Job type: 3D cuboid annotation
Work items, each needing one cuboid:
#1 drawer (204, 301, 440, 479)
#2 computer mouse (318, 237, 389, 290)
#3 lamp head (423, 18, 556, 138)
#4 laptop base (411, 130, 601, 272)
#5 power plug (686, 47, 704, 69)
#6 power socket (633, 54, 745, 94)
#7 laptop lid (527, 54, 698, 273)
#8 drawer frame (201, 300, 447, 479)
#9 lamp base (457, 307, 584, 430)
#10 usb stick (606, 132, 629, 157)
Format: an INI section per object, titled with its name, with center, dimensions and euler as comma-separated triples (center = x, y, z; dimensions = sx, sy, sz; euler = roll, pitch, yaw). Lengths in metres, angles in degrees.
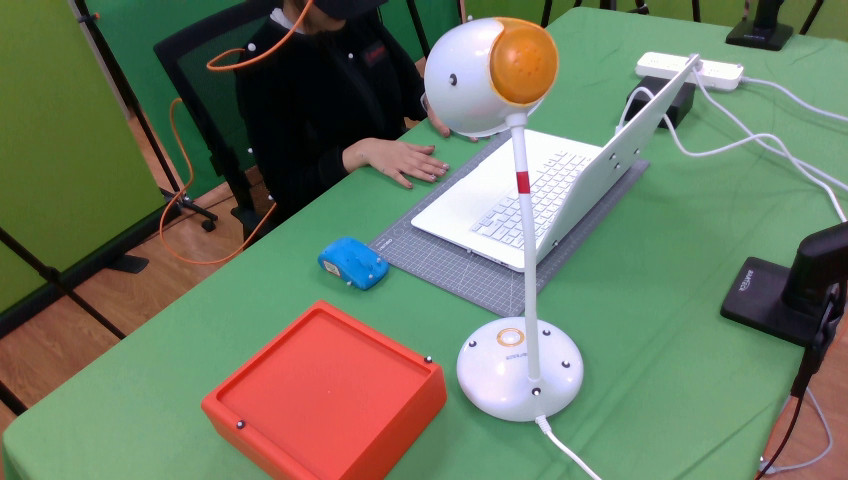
[drawer]
center = -0.119, 0.193, 0.735
dimensions = 0.210, 0.073, 0.195
euler = 23, 49, 32
[computer mouse]
center = -0.113, 0.033, 0.959
dimensions = 0.116, 0.041, 0.063
euler = 27, 50, 31
[lamp head]
center = 0.069, -0.151, 0.563
dimensions = 0.113, 0.113, 0.122
euler = -21, 18, -14
[laptop base]
center = 0.175, -0.083, 1.054
dimensions = 0.233, 0.023, 0.355
euler = 22, 49, 36
[power plug]
center = 0.564, -0.384, 1.247
dimensions = 0.035, 0.073, 0.052
euler = 22, 71, 15
[power socket]
center = 0.563, -0.358, 1.295
dimensions = 0.225, 0.033, 0.072
euler = 21, 50, 30
[laptop lid]
center = 0.281, -0.113, 0.896
dimensions = 0.013, 0.242, 0.358
euler = 38, 55, 17
[drawer frame]
center = -0.117, 0.193, 0.733
dimensions = 0.212, 0.083, 0.202
euler = 23, 48, 32
[lamp base]
center = 0.115, 0.108, 0.713
dimensions = 0.161, 0.181, 0.178
euler = -17, 43, -8
[usb stick]
center = 0.353, -0.174, 1.109
dimensions = 0.021, 0.027, 0.059
euler = 23, 49, 32
